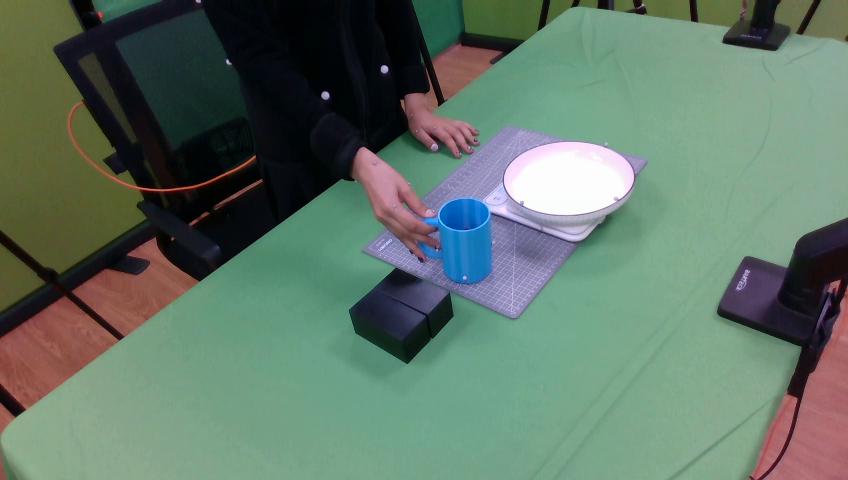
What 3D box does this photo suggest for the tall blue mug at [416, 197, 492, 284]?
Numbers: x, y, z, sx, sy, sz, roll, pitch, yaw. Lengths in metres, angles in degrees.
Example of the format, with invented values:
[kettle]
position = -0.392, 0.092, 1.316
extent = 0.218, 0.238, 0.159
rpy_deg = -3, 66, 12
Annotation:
[tall blue mug]
position = 0.047, 0.004, 0.891
extent = 0.107, 0.108, 0.077
rpy_deg = -14, 44, -8

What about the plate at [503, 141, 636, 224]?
[plate]
position = 0.233, -0.091, 0.983
extent = 0.209, 0.038, 0.208
rpy_deg = -5, 41, 5

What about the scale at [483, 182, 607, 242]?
[scale]
position = 0.211, -0.070, 1.014
extent = 0.199, 0.032, 0.149
rpy_deg = 23, 49, 33
